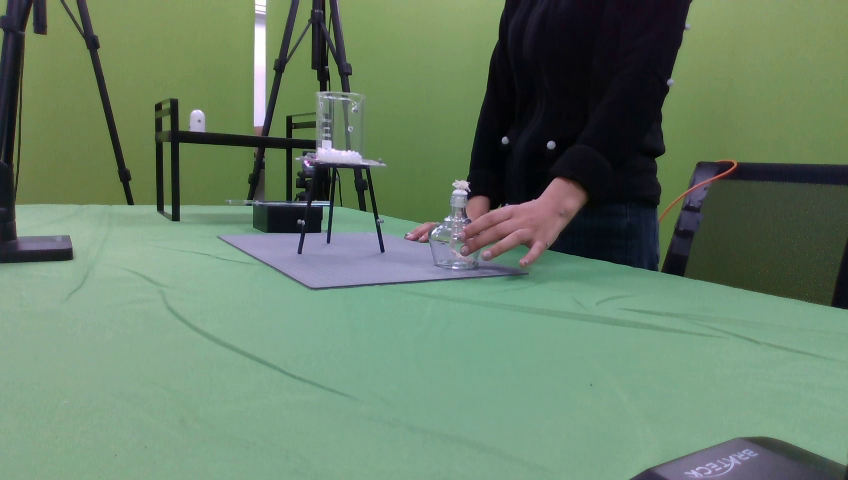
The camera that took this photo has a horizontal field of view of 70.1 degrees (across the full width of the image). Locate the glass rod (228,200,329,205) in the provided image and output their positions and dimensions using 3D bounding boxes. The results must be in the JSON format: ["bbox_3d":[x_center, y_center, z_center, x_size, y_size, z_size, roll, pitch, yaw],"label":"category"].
[{"bbox_3d":[-0.268,-0.071,1.148,0.201,0.008,0.008,-1,8,-28],"label":"glass rod"}]

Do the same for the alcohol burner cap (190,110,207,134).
[{"bbox_3d":[-0.463,-0.242,1.240,0.034,0.048,0.034,2,7,0],"label":"alcohol burner cap"}]

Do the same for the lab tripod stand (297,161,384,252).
[{"bbox_3d":[-0.130,-0.051,0.904,0.148,0.131,0.148,3,9,0],"label":"lab tripod stand"}]

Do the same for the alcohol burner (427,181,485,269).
[{"bbox_3d":[0.044,-0.020,0.808,0.078,0.119,0.078,5,6,0],"label":"alcohol burner"}]

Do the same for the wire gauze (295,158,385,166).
[{"bbox_3d":[-0.128,-0.117,0.901,0.125,0.011,0.121,-2,8,-14],"label":"wire gauze"}]

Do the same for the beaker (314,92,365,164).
[{"bbox_3d":[-0.123,-0.163,0.893,0.073,0.100,0.084,8,9,31],"label":"beaker"}]
